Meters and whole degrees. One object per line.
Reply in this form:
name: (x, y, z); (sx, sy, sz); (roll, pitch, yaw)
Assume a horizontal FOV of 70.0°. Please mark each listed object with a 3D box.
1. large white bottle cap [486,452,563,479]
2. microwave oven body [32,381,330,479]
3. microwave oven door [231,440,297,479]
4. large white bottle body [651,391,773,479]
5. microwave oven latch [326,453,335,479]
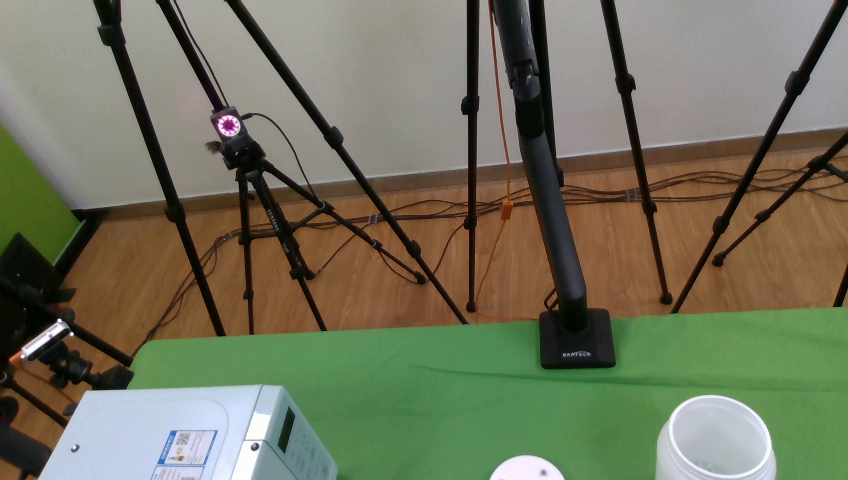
large white bottle cap: (0.143, 0.357, 0.858); (0.115, 0.018, 0.113); (-8, 43, 8)
microwave oven body: (-0.335, 0.433, 0.751); (0.325, 0.263, 0.437); (-5, 45, 12)
microwave oven door: (-0.198, 0.446, 0.688); (0.039, 0.246, 0.352); (-5, 44, 12)
large white bottle body: (0.349, 0.284, 0.746); (0.130, 0.186, 0.129); (-9, 40, 8)
microwave oven latch: (-0.153, 0.362, 0.909); (0.030, 0.030, 0.078); (-4, 45, 12)
